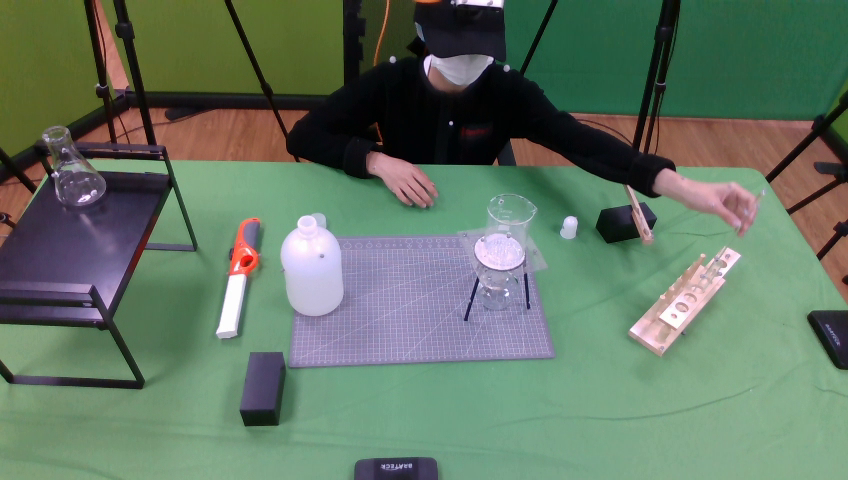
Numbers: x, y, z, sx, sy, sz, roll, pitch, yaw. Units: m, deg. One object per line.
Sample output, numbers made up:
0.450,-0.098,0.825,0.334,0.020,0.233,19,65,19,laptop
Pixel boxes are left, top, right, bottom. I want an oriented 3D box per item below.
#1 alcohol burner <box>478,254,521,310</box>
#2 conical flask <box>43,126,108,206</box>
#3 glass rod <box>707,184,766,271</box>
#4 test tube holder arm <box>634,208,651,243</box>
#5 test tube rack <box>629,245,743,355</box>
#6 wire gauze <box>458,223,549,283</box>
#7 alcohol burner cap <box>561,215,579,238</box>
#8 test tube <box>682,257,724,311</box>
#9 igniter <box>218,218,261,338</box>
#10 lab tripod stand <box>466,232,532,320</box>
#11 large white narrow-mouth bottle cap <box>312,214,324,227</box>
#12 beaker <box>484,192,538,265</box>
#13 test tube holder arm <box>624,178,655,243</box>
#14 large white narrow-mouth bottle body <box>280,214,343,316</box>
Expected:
0.134,0.068,1.071,0.078,0.120,0.077,0,47,0,alcohol burner
-0.555,-0.119,0.953,0.075,0.122,0.075,2,46,-2,conical flask
0.520,-0.015,1.015,0.008,0.200,0.008,5,44,-5,glass rod
0.428,-0.030,1.189,0.010,0.015,0.087,1,47,-2,test tube holder arm
0.474,0.095,1.091,0.242,0.085,0.066,-34,56,-31,test tube rack
0.131,0.016,1.017,0.121,0.011,0.124,-10,44,-15,wire gauze
0.299,-0.030,1.231,0.034,0.048,0.033,1,47,-1,alcohol burner cap
0.475,0.080,1.037,0.017,0.151,0.017,2,50,-2,test tube
-0.336,0.060,1.111,0.057,0.025,0.274,-8,46,4,igniter
0.125,0.059,1.065,0.148,0.132,0.147,1,45,0,lab tripod stand
-0.219,-0.033,1.214,0.038,0.024,0.037,2,46,-2,large white narrow-mouth bottle cap
0.137,-0.016,0.980,0.084,0.101,0.073,-6,45,-9,beaker
0.433,-0.063,1.220,0.013,0.015,0.177,1,47,-3,test tube holder arm
-0.190,0.035,1.025,0.102,0.195,0.101,2,46,-2,large white narrow-mouth bottle body
